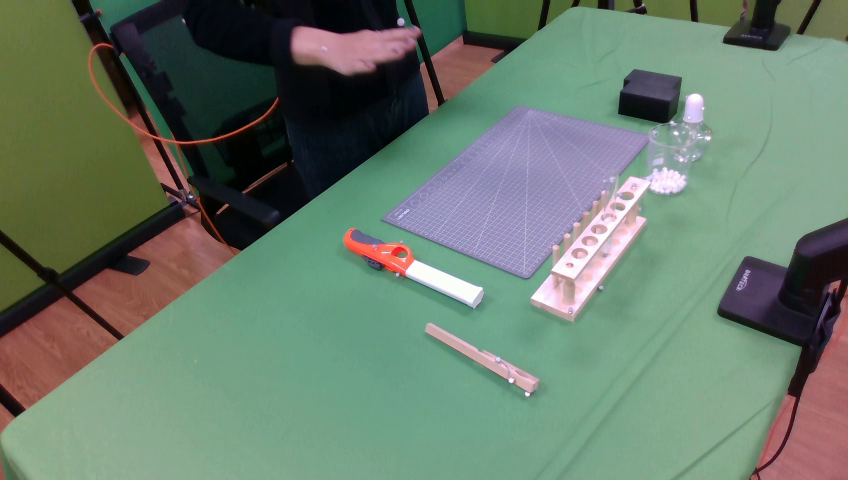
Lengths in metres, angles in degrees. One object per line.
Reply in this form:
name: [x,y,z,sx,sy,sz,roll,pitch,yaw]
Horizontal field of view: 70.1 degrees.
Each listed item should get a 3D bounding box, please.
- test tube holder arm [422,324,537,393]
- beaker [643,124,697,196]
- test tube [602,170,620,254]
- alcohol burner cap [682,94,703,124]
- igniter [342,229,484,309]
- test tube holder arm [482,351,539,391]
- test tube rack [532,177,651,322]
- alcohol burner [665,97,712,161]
test tube holder arm: [0.068,0.152,0.789,0.177,0.015,0.013,23,15,32]
beaker: [0.407,-0.132,1.001,0.084,0.101,0.073,-20,42,-13]
test tube: [0.261,-0.035,0.848,0.017,0.151,0.017,-6,44,6]
alcohol burner cap: [0.460,-0.225,1.033,0.034,0.048,0.033,-8,35,6]
igniter: [-0.027,0.039,0.936,0.274,0.025,0.057,23,59,32]
test tube holder arm: [0.106,0.166,0.769,0.087,0.015,0.010,24,15,34]
test tube rack: [0.247,0.002,0.883,0.066,0.085,0.243,23,49,32]
alcohol burner: [0.465,-0.198,1.057,0.078,0.119,0.077,-4,41,4]
